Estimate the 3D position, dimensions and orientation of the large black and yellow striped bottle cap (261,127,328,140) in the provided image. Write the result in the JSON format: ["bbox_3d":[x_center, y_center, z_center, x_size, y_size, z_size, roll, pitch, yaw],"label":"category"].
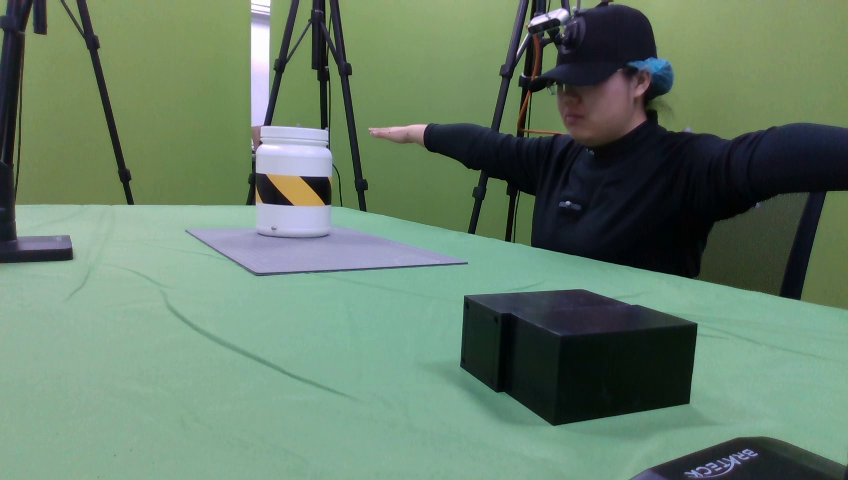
[{"bbox_3d":[-0.224,-0.184,1.051,0.115,0.019,0.115,2,7,0],"label":"large black and yellow striped bottle cap"}]

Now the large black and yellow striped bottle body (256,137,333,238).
[{"bbox_3d":[-0.228,-0.102,1.063,0.131,0.184,0.130,3,8,0],"label":"large black and yellow striped bottle body"}]
